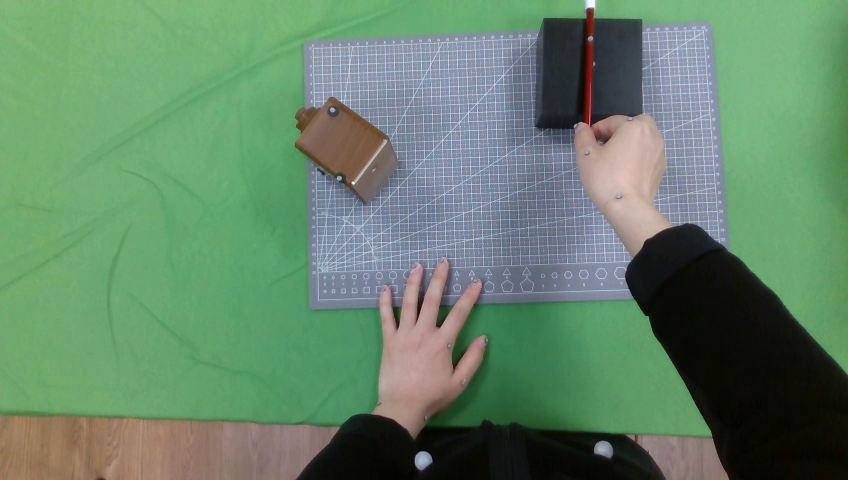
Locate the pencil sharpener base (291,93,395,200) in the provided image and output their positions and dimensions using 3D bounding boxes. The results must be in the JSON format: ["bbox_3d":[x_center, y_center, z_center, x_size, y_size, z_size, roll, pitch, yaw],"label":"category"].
[{"bbox_3d":[-0.080,-0.092,0.612,0.076,0.107,0.061,37,88,5],"label":"pencil sharpener base"}]

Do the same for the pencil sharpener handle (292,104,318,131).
[{"bbox_3d":[-0.123,-0.122,0.603,0.030,0.068,0.036,37,79,5],"label":"pencil sharpener handle"}]

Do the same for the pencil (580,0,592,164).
[{"bbox_3d":[0.162,-0.170,0.606,0.012,0.012,0.193,3,81,3],"label":"pencil"}]
